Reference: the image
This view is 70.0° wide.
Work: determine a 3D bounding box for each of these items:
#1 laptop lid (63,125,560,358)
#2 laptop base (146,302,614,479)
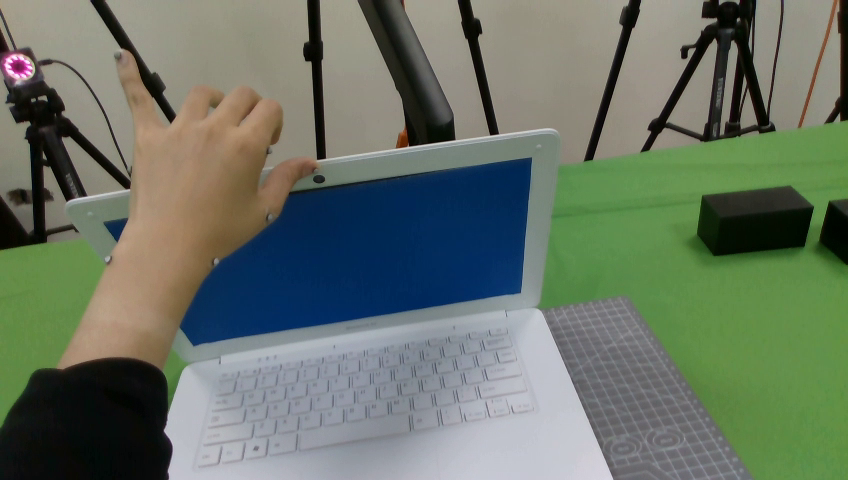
[{"bbox_3d":[-0.068,0.017,0.509,0.357,0.244,0.013,-10,51,-1],"label":"laptop lid"},{"bbox_3d":[-0.047,0.156,0.504,0.354,0.023,0.233,-9,36,-2],"label":"laptop base"}]
